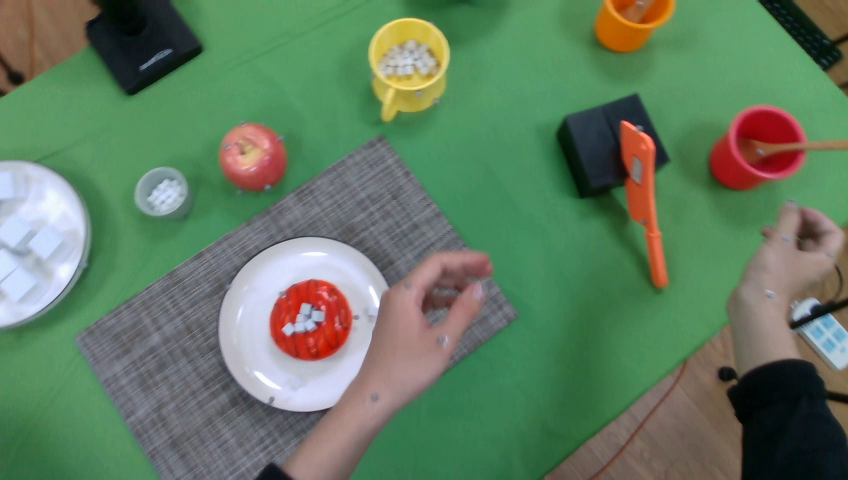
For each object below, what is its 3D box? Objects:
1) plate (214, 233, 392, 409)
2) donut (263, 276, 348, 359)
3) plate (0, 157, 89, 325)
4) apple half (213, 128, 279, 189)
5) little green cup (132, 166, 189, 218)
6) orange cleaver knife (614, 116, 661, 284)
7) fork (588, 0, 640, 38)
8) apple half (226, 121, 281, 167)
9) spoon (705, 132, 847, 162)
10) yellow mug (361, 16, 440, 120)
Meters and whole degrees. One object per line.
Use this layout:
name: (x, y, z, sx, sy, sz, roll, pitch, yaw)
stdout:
plate: (-0.141, 0.095, 0.725, 0.209, 0.038, 0.208, 1, 78, -2)
donut: (-0.139, 0.091, 0.715, 0.099, 0.048, 0.098, 0, 80, -2)
plate: (-0.510, 0.003, 0.736, 0.208, 0.039, 0.206, 1, 77, -2)
apple half: (-0.226, -0.092, 0.751, 0.081, 0.075, 0.053, 33, 82, 2)
little green cup: (-0.326, -0.057, 0.756, 0.061, 0.039, 0.061, 0, 77, -2)
orange cleaver knife: (0.263, -0.048, 0.750, 0.012, 0.076, 0.212, -17, 110, -5)
fork: (0.303, -0.337, 0.785, 0.207, 0.019, 0.028, -36, 75, 35)
apple half: (-0.205, -0.125, 0.758, 0.081, 0.081, 0.033, 32, 82, 6)
spoon: (0.449, -0.120, 0.746, 0.192, 0.022, 0.041, 2, 70, 44)
yellow mug: (-0.036, -0.217, 0.789, 0.100, 0.064, 0.130, 22, 78, 3)
